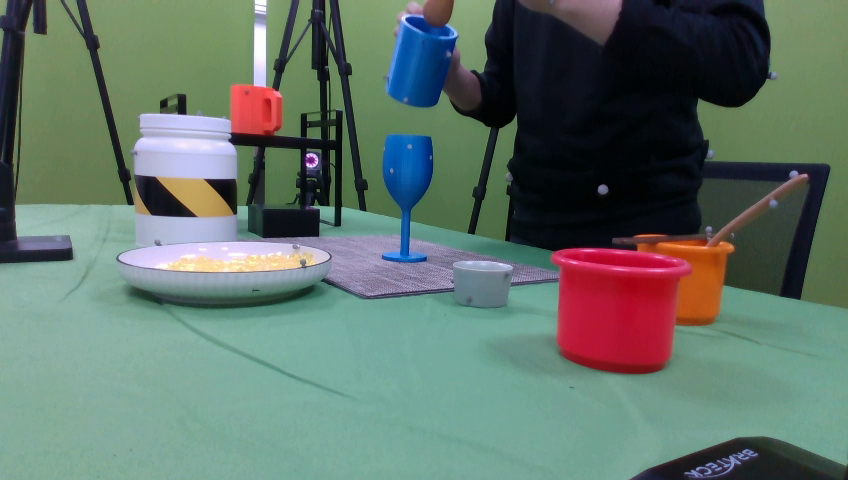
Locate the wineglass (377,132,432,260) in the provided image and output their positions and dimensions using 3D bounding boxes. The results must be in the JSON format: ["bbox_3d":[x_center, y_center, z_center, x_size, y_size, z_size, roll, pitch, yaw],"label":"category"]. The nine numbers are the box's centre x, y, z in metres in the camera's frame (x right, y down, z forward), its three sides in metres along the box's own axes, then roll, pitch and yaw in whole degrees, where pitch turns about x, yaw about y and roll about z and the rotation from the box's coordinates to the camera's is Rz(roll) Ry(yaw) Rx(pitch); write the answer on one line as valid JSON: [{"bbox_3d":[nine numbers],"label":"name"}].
[{"bbox_3d":[-0.026,-0.062,0.841,0.074,0.172,0.073,2,8,0],"label":"wineglass"}]

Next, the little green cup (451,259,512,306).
[{"bbox_3d":[0.057,0.043,0.611,0.061,0.038,0.061,3,8,0],"label":"little green cup"}]

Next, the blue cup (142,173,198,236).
[{"bbox_3d":[-0.425,-0.060,1.014,0.093,0.100,0.092,4,9,0],"label":"blue cup"}]

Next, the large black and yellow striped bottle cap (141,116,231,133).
[{"bbox_3d":[-0.324,-0.157,0.826,0.115,0.019,0.115,1,7,0],"label":"large black and yellow striped bottle cap"}]

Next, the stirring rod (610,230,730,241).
[{"bbox_3d":[0.241,-0.005,0.581,0.177,0.006,0.014,-3,10,-34],"label":"stirring rod"}]

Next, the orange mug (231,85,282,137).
[{"bbox_3d":[-0.335,-0.261,1.225,0.125,0.100,0.084,2,6,35],"label":"orange mug"}]

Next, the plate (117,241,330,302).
[{"bbox_3d":[-0.203,0.031,0.630,0.209,0.038,0.209,3,7,0],"label":"plate"}]

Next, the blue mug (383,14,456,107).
[{"bbox_3d":[-0.011,-0.269,0.887,0.083,0.106,0.116,4,36,-19],"label":"blue mug"}]

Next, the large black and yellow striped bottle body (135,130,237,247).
[{"bbox_3d":[-0.327,-0.074,0.838,0.131,0.184,0.130,2,7,0],"label":"large black and yellow striped bottle body"}]

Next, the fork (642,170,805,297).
[{"bbox_3d":[0.261,0.004,0.545,0.028,0.018,0.207,5,-37,-15],"label":"fork"}]

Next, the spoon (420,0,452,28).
[{"bbox_3d":[0.047,-0.352,0.769,0.041,0.193,0.021,35,40,-2],"label":"spoon"}]
